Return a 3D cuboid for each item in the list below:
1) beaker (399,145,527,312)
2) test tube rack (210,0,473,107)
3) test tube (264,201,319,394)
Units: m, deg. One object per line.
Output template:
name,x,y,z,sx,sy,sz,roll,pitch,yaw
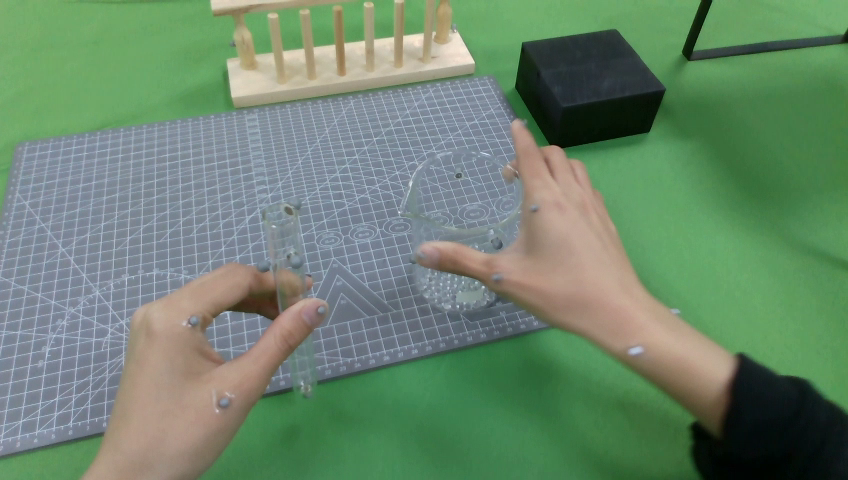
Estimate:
beaker,0.024,-0.003,0.419,0.084,0.101,0.073,-18,52,-14
test tube rack,-0.074,-0.202,0.593,0.243,0.086,0.066,-12,52,-11
test tube,-0.068,0.039,0.320,0.017,0.151,0.017,3,46,-2
